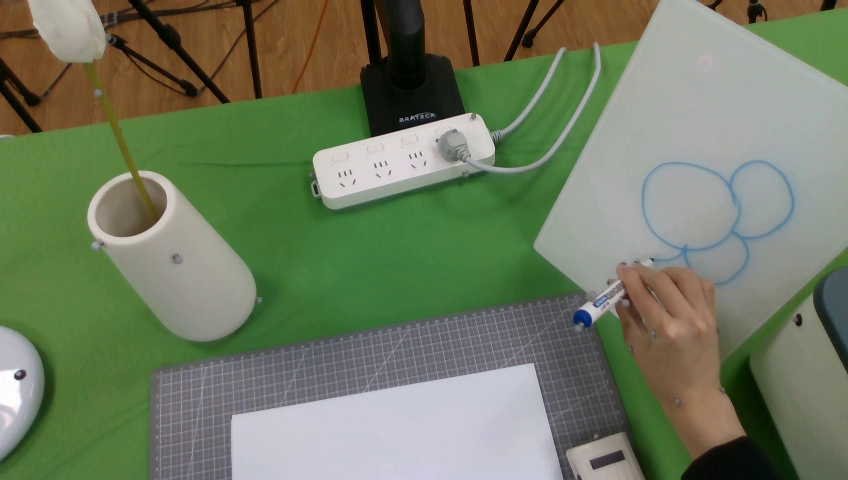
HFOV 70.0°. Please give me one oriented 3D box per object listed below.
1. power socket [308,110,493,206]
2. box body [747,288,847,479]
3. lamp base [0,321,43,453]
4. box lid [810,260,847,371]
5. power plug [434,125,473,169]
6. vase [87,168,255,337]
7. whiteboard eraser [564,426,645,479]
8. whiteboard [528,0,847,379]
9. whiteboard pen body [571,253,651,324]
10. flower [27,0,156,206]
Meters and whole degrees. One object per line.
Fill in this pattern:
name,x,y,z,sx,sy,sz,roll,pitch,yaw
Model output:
power socket,-0.025,-0.097,0.710,0.227,0.033,0.071,-15,64,-7
box body,0.462,0.194,0.476,0.254,0.161,0.360,-11,63,-5
lamp base,-0.468,0.111,0.523,0.178,0.182,0.160,19,63,14
box lid,0.460,0.157,0.411,0.263,0.015,0.368,-11,64,-5
power plug,0.032,-0.097,0.683,0.035,0.053,0.072,-6,64,-2
vase,-0.227,0.018,0.559,0.098,0.201,0.097,-1,62,2
whiteboard eraser,0.169,0.225,0.529,0.056,0.042,0.111,-15,62,-9
whiteboard,0.270,-0.055,0.565,0.215,0.307,0.144,42,51,21
whiteboard pen body,0.166,0.037,0.522,0.017,0.017,0.141,42,44,21
flower,-0.226,-0.038,0.495,0.038,0.365,0.043,-21,45,-18
